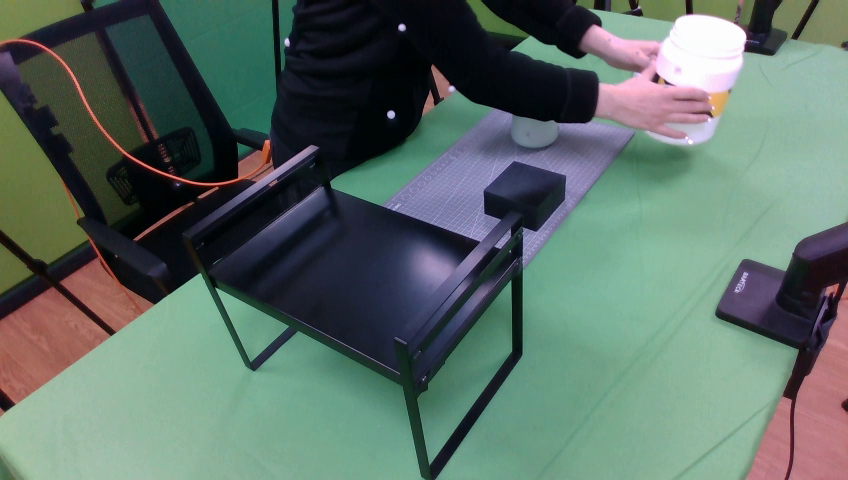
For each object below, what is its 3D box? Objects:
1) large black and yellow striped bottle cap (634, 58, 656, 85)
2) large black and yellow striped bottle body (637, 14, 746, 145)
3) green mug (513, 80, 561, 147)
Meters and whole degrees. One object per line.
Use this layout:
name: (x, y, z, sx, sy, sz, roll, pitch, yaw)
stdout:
large black and yellow striped bottle cap: (0.523, -0.370, 1.331, 0.115, 0.019, 0.114, -3, 42, 3)
large black and yellow striped bottle body: (0.446, -0.267, 1.012, 0.131, 0.184, 0.130, 2, 43, -1)
green mug: (0.218, -0.250, 1.167, 0.092, 0.105, 0.125, 2, 42, 13)
